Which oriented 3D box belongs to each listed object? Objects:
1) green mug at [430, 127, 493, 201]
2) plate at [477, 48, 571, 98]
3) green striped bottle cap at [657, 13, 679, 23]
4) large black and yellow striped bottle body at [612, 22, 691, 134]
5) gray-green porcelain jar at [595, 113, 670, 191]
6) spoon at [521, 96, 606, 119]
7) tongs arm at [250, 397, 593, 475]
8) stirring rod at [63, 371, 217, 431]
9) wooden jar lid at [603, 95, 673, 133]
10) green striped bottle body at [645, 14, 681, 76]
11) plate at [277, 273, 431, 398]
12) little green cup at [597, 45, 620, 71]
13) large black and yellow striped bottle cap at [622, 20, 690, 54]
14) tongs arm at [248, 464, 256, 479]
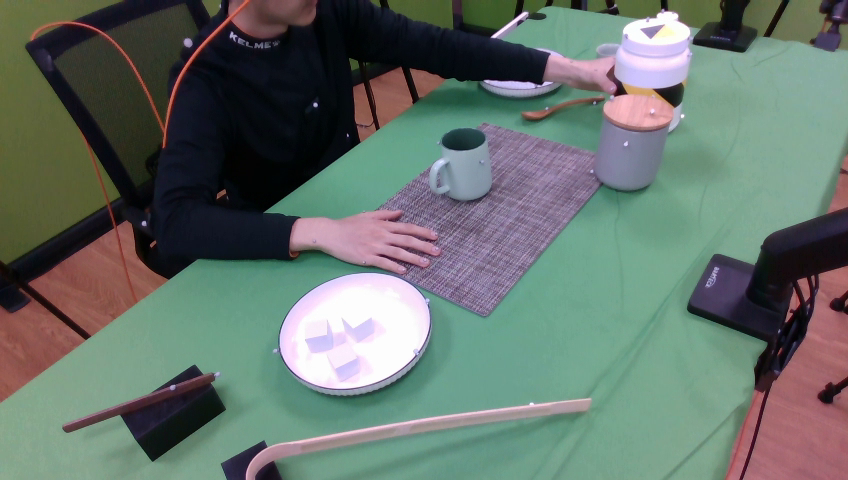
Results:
[{"bbox_3d":[0.059,-0.121,1.034,0.126,0.105,0.091,-35,48,-28],"label":"green mug"},{"bbox_3d":[0.223,-0.371,1.357,0.209,0.038,0.208,-4,41,4],"label":"plate"},{"bbox_3d":[0.515,-0.463,1.278,0.044,0.020,0.044,-6,42,6],"label":"green striped bottle cap"},{"bbox_3d":[0.423,-0.300,1.132,0.131,0.185,0.130,-4,41,4],"label":"large black and yellow striped bottle body"},{"bbox_3d":[0.347,-0.155,1.017,0.106,0.127,0.105,-2,44,2],"label":"gray-green porcelain jar"},{"bbox_3d":[0.291,-0.277,1.249,0.194,0.022,0.041,-17,28,-11],"label":"spoon"},{"bbox_3d":[0.008,0.212,0.674,0.389,0.028,0.028,-5,46,-11],"label":"tongs arm"},{"bbox_3d":[-0.337,0.192,0.723,0.177,0.014,0.005,-18,43,-12],"label":"stirring rod"},{"bbox_3d":[0.343,-0.200,0.973,0.108,0.021,0.108,-2,39,2],"label":"wooden jar lid"},{"bbox_3d":[0.520,-0.424,1.312,0.063,0.120,0.063,-4,40,4],"label":"green striped bottle body"},{"bbox_3d":[-0.092,0.129,0.821,0.207,0.039,0.206,-4,40,4],"label":"plate"},{"bbox_3d":[0.423,-0.413,1.375,0.061,0.039,0.061,-3,41,3],"label":"little green cup"},{"bbox_3d":[0.414,-0.363,1.079,0.115,0.019,0.114,-3,42,4],"label":"large black and yellow striped bottle cap"},{"bbox_3d":[0.012,0.262,0.614,0.385,0.026,0.050,2,42,-2],"label":"tongs arm"}]
